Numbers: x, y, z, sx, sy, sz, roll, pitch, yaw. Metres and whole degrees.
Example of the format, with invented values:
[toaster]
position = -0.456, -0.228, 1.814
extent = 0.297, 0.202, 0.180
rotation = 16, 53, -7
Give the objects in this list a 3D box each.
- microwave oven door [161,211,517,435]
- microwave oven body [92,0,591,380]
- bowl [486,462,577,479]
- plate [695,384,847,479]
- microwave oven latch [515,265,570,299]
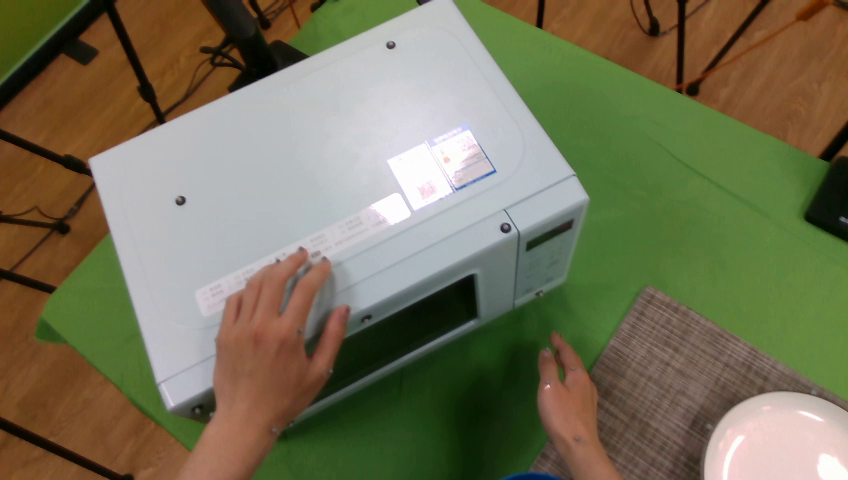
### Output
[microwave oven door]
position = -0.062, 0.102, 0.660
extent = 0.356, 0.246, 0.039
rotation = -27, 66, -5
[microwave oven body]
position = -0.088, -0.032, 0.725
extent = 0.442, 0.262, 0.323
rotation = -27, 67, -5
[bowl]
position = 0.117, 0.322, 0.656
extent = 0.151, 0.077, 0.150
rotation = -2, 66, 6
[plate]
position = 0.404, 0.265, 0.666
extent = 0.207, 0.039, 0.206
rotation = -2, 67, 5
[microwave oven latch]
position = 0.146, 0.045, 0.772
extent = 0.079, 0.030, 0.030
rotation = -25, 67, -4
